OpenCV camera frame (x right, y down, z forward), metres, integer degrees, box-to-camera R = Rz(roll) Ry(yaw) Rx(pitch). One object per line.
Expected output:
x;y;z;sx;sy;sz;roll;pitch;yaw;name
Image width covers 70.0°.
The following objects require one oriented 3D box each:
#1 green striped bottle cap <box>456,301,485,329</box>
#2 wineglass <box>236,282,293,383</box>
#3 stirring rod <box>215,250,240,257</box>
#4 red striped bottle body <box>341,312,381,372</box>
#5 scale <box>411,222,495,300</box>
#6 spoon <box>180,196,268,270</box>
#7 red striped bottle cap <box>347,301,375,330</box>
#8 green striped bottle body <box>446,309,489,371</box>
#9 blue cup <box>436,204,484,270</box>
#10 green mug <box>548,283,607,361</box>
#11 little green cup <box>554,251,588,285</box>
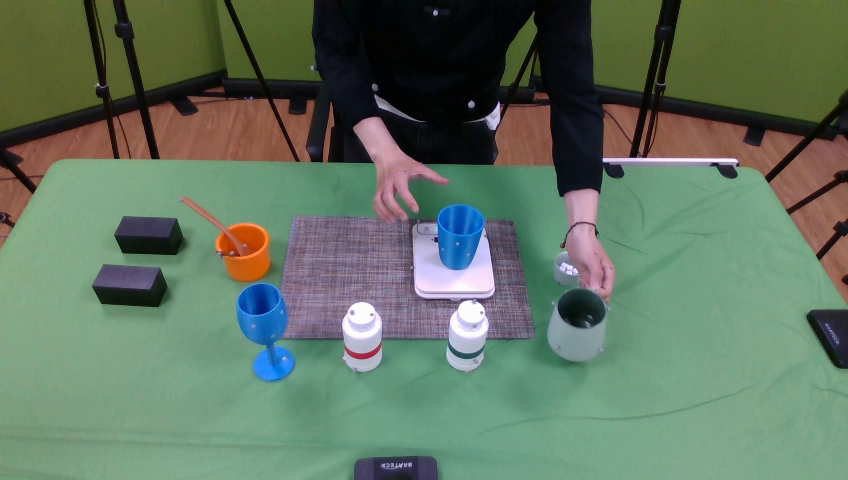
0.073;0.116;0.943;0.044;0.020;0.044;2;46;-2;green striped bottle cap
-0.243;0.143;0.934;0.074;0.173;0.073;2;46;-2;wineglass
-0.339;0.024;1.059;0.014;0.176;0.006;16;86;-6;stirring rod
-0.100;0.154;0.972;0.063;0.120;0.062;2;45;-2;red striped bottle body
0.052;0.031;1.158;0.149;0.032;0.199;1;46;-4;scale
-0.360;-0.014;1.094;0.021;0.194;0.041;-28;26;31;spoon
-0.097;0.116;0.934;0.044;0.018;0.044;2;49;-2;red striped bottle cap
0.071;0.155;0.984;0.063;0.120;0.063;2;46;-2;green striped bottle body
0.061;0.000;1.099;0.093;0.101;0.092;2;43;-2;blue cup
0.260;0.126;0.996;0.092;0.105;0.125;23;57;23;green mug
0.276;0.055;1.151;0.061;0.039;0.061;1;46;-1;little green cup
